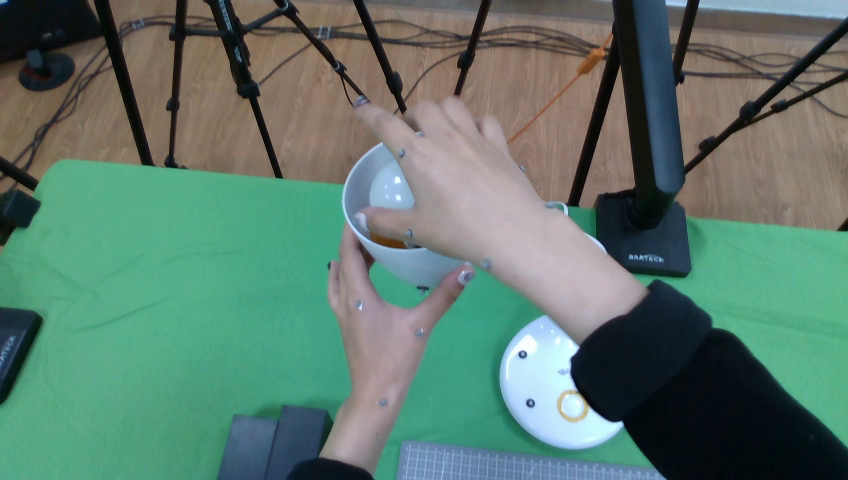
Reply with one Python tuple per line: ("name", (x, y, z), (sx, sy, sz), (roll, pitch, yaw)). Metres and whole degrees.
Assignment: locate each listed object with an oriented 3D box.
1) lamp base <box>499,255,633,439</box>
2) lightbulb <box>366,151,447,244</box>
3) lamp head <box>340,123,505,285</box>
("lamp base", (0.168, 0.109, 0.670), (0.161, 0.182, 0.177), (-6, 58, -3))
("lightbulb", (-0.009, -0.022, 0.465), (0.059, 0.109, 0.059), (-5, 56, 8))
("lamp head", (0.006, -0.017, 0.493), (0.112, 0.124, 0.111), (-8, 59, 13))
